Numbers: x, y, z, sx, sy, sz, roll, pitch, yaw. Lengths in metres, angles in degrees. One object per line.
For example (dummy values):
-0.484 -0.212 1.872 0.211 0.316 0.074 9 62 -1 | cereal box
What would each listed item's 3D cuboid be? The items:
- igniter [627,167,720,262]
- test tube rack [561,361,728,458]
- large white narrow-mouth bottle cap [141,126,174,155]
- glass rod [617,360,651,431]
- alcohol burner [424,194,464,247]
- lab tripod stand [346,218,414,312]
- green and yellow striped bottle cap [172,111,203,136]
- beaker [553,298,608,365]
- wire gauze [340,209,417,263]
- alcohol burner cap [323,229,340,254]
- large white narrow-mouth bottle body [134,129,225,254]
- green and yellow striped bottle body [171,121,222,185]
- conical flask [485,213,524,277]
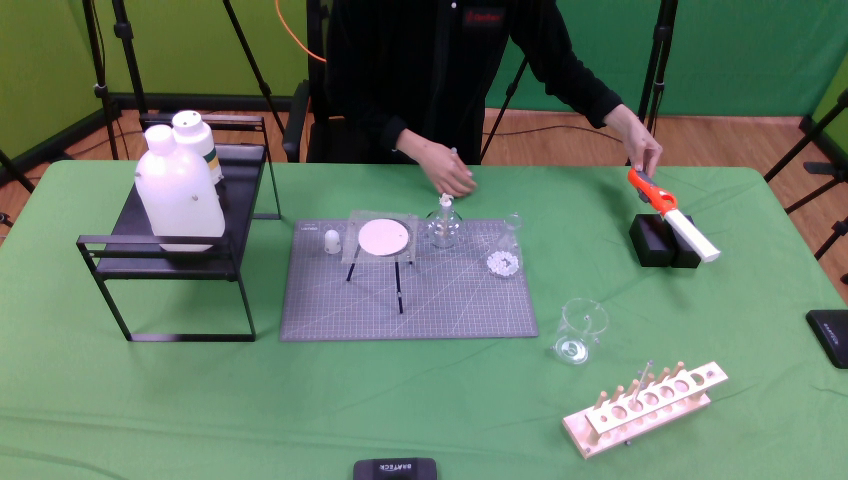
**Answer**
0.480 -0.059 1.192 0.057 0.025 0.274 -16 46 -10 | igniter
0.341 0.248 0.940 0.243 0.085 0.066 -15 49 -18 | test tube rack
-0.356 -0.133 0.811 0.038 0.024 0.037 1 48 -1 | large white narrow-mouth bottle cap
0.297 0.227 0.865 0.008 0.201 0.008 -1 47 2 | glass rod
0.039 -0.044 1.175 0.078 0.120 0.077 1 48 -1 | alcohol burner
-0.070 0.037 1.075 0.148 0.132 0.147 1 48 -1 | lab tripod stand
-0.374 -0.185 0.958 0.045 0.020 0.045 4 46 -3 | green and yellow striped bottle cap
0.260 0.154 1.015 0.073 0.101 0.084 37 54 27 | beaker
-0.074 -0.007 1.023 0.121 0.011 0.124 3 46 0 | wire gauze
-0.179 0.001 1.165 0.034 0.048 0.033 2 45 -2 | alcohol burner cap
-0.358 -0.075 0.875 0.102 0.195 0.101 1 48 -1 | large white narrow-mouth bottle body
-0.375 -0.149 0.995 0.063 0.120 0.063 2 46 -2 | green and yellow striped bottle body
0.157 0.007 1.129 0.075 0.122 0.075 2 46 -2 | conical flask
